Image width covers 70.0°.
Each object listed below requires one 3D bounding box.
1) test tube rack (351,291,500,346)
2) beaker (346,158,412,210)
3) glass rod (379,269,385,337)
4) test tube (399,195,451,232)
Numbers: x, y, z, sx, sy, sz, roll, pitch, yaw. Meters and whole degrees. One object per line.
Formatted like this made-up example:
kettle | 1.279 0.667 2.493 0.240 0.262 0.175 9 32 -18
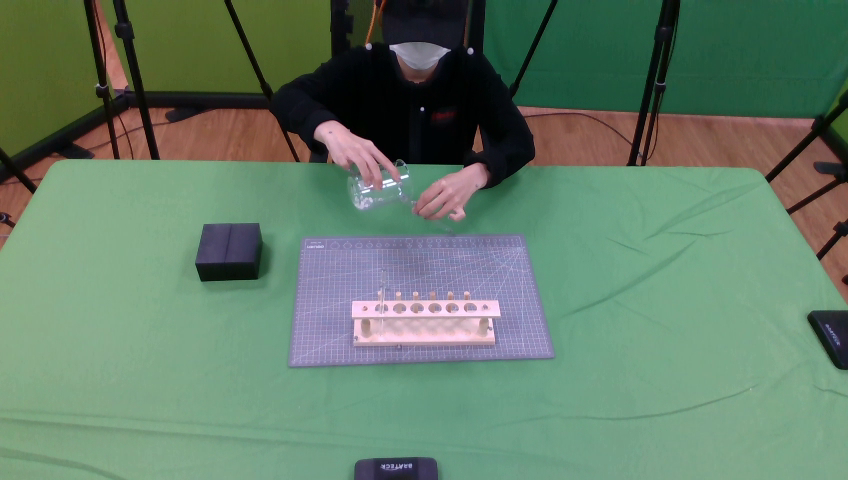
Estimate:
test tube rack | 0.000 0.129 1.026 0.242 0.085 0.066 0 46 -4
beaker | -0.081 -0.095 1.079 0.100 0.084 0.073 -17 36 -21
glass rod | -0.066 0.104 0.953 0.008 0.200 0.008 3 52 -3
test tube | 0.005 -0.048 1.170 0.017 0.151 0.017 -20 55 32
